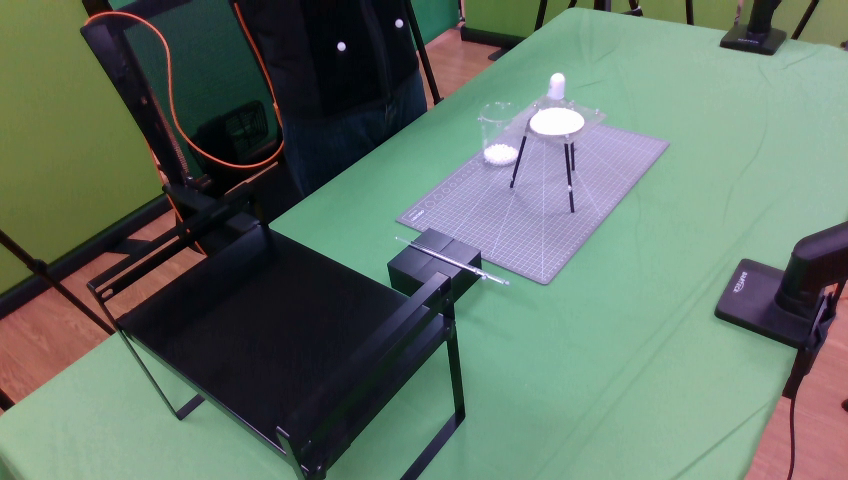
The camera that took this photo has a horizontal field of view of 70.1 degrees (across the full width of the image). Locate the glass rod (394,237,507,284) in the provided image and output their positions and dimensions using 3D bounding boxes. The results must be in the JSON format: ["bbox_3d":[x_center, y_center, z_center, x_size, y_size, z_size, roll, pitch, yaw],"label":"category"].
[{"bbox_3d":[0.033,0.028,0.875,0.198,0.008,0.008,21,48,31],"label":"glass rod"}]

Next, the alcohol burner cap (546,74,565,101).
[{"bbox_3d":[0.251,-0.292,1.150,0.034,0.048,0.033,0,41,0],"label":"alcohol burner cap"}]

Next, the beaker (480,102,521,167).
[{"bbox_3d":[0.143,-0.195,1.120,0.074,0.101,0.084,3,41,12],"label":"beaker"}]

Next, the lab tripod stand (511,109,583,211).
[{"bbox_3d":[0.220,-0.138,1.014,0.148,0.132,0.147,-3,41,3],"label":"lab tripod stand"}]

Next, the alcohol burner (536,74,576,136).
[{"bbox_3d":[0.256,-0.264,1.173,0.078,0.119,0.077,-6,40,6],"label":"alcohol burner"}]

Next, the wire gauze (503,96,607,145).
[{"bbox_3d":[0.211,-0.192,0.975,0.120,0.011,0.125,24,49,32],"label":"wire gauze"}]
